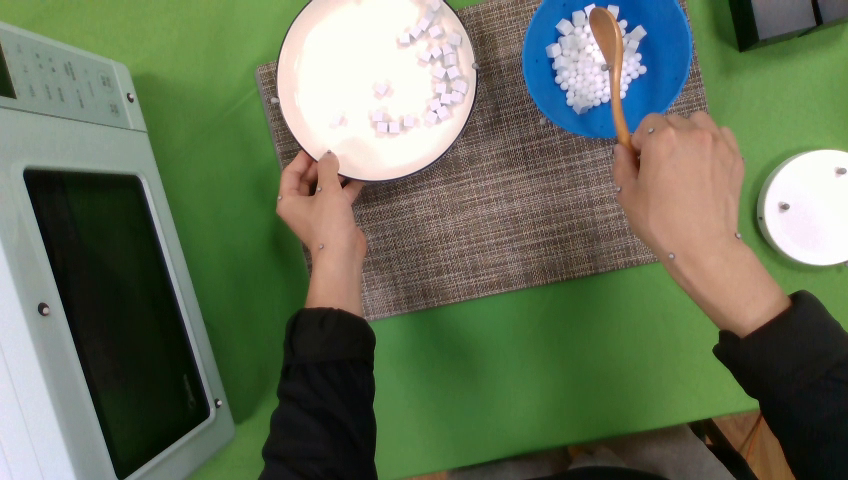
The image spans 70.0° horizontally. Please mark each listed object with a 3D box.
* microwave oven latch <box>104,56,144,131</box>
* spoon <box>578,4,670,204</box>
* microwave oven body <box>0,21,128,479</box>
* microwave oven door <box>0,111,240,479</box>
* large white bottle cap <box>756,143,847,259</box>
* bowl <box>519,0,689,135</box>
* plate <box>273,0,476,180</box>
[{"bbox_3d":[-0.332,-0.155,0.656,0.030,0.029,0.079,-16,94,8],"label":"microwave oven latch"},{"bbox_3d":[0.172,-0.119,0.524,0.022,0.042,0.192,-7,74,-21],"label":"spoon"},{"bbox_3d":[-0.439,0.061,0.593,0.326,0.260,0.442,-15,94,8],"label":"microwave oven body"},{"bbox_3d":[-0.289,0.064,0.569,0.039,0.244,0.356,-16,93,9],"label":"microwave oven door"},{"bbox_3d":[0.393,-0.038,0.600,0.114,0.018,0.115,1,96,7],"label":"large white bottle cap"},{"bbox_3d":[0.166,-0.174,0.582,0.151,0.077,0.151,1,95,8],"label":"bowl"},{"bbox_3d":[-0.050,-0.164,0.629,0.209,0.038,0.209,0,93,6],"label":"plate"}]
